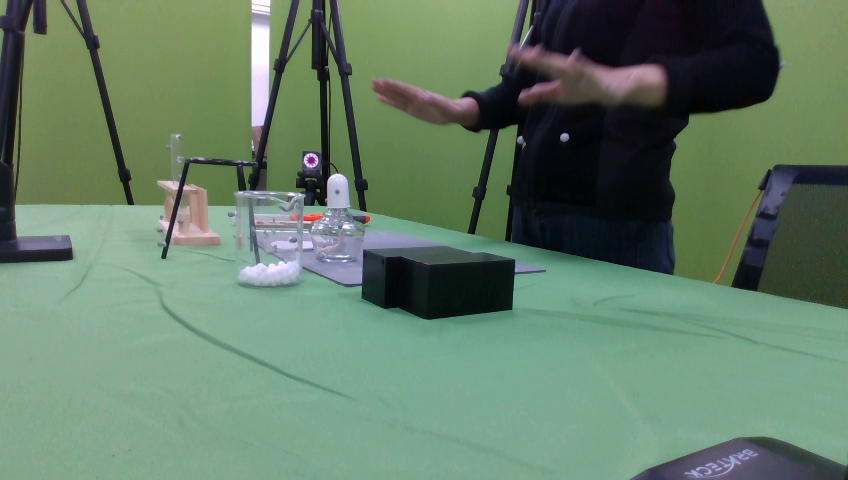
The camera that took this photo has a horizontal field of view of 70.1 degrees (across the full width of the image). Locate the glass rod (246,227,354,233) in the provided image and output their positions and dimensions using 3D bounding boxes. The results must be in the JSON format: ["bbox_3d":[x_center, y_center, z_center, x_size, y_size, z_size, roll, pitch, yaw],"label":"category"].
[{"bbox_3d":[-0.224,-0.017,1.109,0.201,0.008,0.008,1,7,-27],"label":"glass rod"}]

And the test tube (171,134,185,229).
[{"bbox_3d":[-0.390,-0.092,0.963,0.017,0.150,0.017,-1,4,0],"label":"test tube"}]

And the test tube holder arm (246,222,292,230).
[{"bbox_3d":[-0.291,-0.026,1.130,0.088,0.015,0.010,-1,43,-29],"label":"test tube holder arm"}]

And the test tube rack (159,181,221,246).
[{"bbox_3d":[-0.395,-0.050,1.010,0.067,0.085,0.241,-2,8,-28],"label":"test tube rack"}]

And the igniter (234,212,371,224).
[{"bbox_3d":[-0.245,-0.045,1.248,0.278,0.025,0.057,-1,-2,-25],"label":"igniter"}]

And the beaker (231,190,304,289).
[{"bbox_3d":[-0.166,-0.001,0.653,0.074,0.100,0.083,-4,10,-40],"label":"beaker"}]

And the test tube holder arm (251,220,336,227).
[{"bbox_3d":[-0.253,-0.031,1.156,0.179,0.015,0.013,-2,43,-30],"label":"test tube holder arm"}]

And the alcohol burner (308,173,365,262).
[{"bbox_3d":[-0.117,-0.030,0.813,0.078,0.119,0.078,4,9,0],"label":"alcohol burner"}]

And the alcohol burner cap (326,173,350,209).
[{"bbox_3d":[-0.116,-0.065,0.808,0.034,0.048,0.034,-3,10,1],"label":"alcohol burner cap"}]

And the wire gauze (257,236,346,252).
[{"bbox_3d":[-0.189,0.005,0.931,0.122,0.011,0.124,1,7,-21],"label":"wire gauze"}]

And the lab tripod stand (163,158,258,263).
[{"bbox_3d":[-0.265,-0.041,0.802,0.148,0.131,0.148,4,7,0],"label":"lab tripod stand"}]
